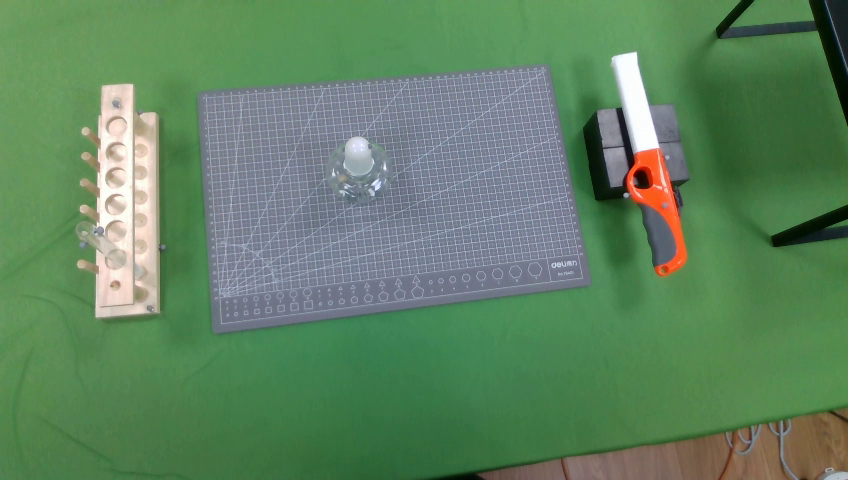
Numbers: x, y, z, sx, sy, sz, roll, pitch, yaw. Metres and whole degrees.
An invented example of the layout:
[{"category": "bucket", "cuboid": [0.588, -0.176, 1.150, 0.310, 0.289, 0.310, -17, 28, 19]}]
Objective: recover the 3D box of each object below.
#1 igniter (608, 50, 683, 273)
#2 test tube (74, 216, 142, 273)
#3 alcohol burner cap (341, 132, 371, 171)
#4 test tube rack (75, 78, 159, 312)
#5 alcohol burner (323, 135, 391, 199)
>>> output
[{"category": "igniter", "cuboid": [0.263, -0.097, 0.722, 0.057, 0.025, 0.275, -9, 78, 5]}, {"category": "test tube", "cuboid": [-0.314, 0.008, 0.610, 0.017, 0.151, 0.017, 2, 72, -7]}, {"category": "alcohol burner cap", "cuboid": [-0.073, -0.098, 0.653, 0.034, 0.048, 0.033, 2, 71, -5]}, {"category": "test tube rack", "cuboid": [-0.342, -0.047, 0.670, 0.067, 0.085, 0.241, -4, 78, -6]}, {"category": "alcohol burner", "cuboid": [-0.077, -0.089, 0.688, 0.078, 0.119, 0.077, 1, 78, -4]}]
